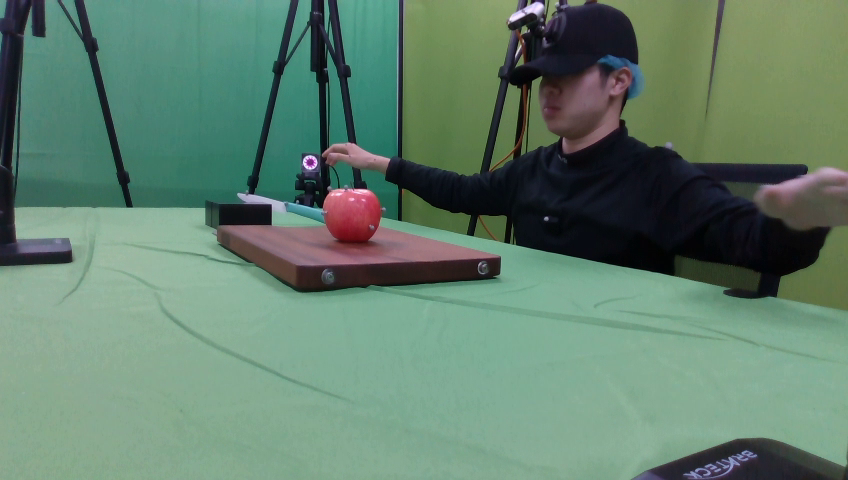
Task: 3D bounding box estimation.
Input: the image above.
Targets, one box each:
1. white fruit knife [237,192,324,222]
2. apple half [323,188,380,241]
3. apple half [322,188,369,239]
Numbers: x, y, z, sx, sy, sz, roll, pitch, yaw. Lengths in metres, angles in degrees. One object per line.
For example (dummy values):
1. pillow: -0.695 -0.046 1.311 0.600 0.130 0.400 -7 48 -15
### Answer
1. white fruit knife: -0.286 -0.070 1.251 0.208 0.027 0.016 14 -1 -35
2. apple half: -0.094 -0.034 0.839 0.081 0.074 0.053 1 11 -41
3. apple half: -0.119 -0.040 0.868 0.082 0.081 0.032 -4 14 -41
